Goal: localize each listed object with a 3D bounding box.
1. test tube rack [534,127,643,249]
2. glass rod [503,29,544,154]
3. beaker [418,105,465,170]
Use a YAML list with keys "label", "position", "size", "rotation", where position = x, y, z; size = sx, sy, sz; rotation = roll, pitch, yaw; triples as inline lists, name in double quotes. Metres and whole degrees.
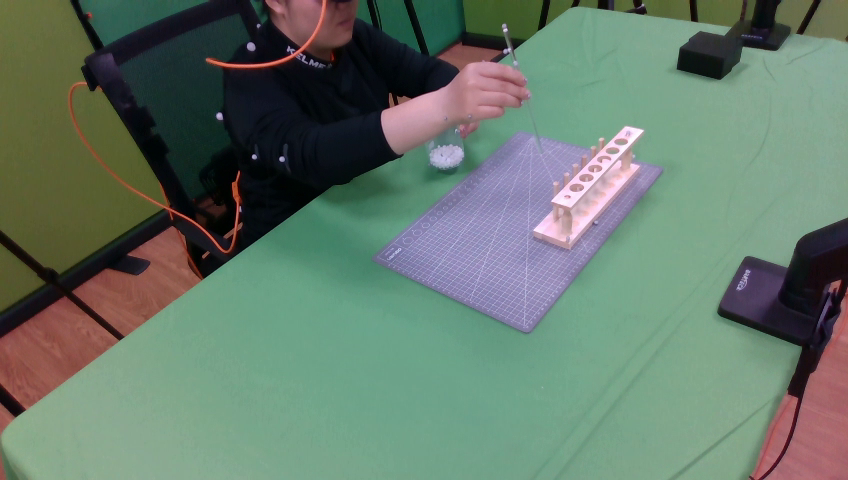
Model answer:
- label: "test tube rack"
  position: [0.272, -0.094, 0.990]
  size: [0.066, 0.085, 0.243]
  rotation: [23, 50, 33]
- label: "glass rod"
  position: [0.144, -0.207, 0.869]
  size: [0.008, 0.201, 0.008]
  rotation: [-17, 34, 12]
- label: "beaker"
  position: [0.037, -0.189, 1.120]
  size: [0.073, 0.101, 0.084]
  rotation: [7, 46, 22]
